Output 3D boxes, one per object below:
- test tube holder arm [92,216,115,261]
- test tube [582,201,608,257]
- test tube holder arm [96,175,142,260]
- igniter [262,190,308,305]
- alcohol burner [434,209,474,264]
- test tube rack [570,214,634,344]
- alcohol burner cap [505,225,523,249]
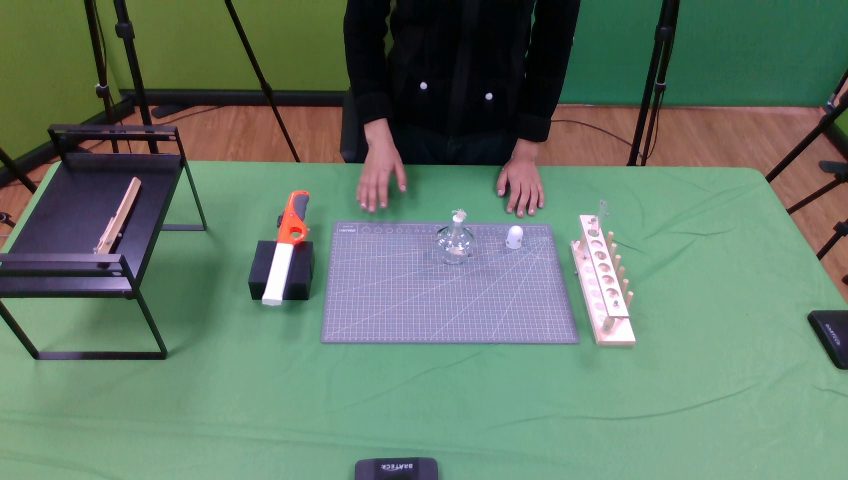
[{"bbox_3d":[-0.479,-0.004,0.917,0.010,0.015,0.087,-18,44,20],"label":"test tube holder arm"},{"bbox_3d":[0.316,-0.017,1.127,0.017,0.151,0.017,1,51,-1],"label":"test tube"},{"bbox_3d":[-0.473,-0.039,0.946,0.013,0.015,0.177,-18,43,19],"label":"test tube holder arm"},{"bbox_3d":[-0.252,0.004,1.107,0.057,0.025,0.275,8,46,-6],"label":"igniter"},{"bbox_3d":[0.058,-0.011,1.147,0.078,0.119,0.077,3,45,-3],"label":"alcohol burner"},{"bbox_3d":[0.333,0.067,1.116,0.067,0.085,0.241,1,46,-3],"label":"test tube rack"},{"bbox_3d":[0.180,-0.009,1.203,0.034,0.048,0.033,2,46,-2],"label":"alcohol burner cap"}]
